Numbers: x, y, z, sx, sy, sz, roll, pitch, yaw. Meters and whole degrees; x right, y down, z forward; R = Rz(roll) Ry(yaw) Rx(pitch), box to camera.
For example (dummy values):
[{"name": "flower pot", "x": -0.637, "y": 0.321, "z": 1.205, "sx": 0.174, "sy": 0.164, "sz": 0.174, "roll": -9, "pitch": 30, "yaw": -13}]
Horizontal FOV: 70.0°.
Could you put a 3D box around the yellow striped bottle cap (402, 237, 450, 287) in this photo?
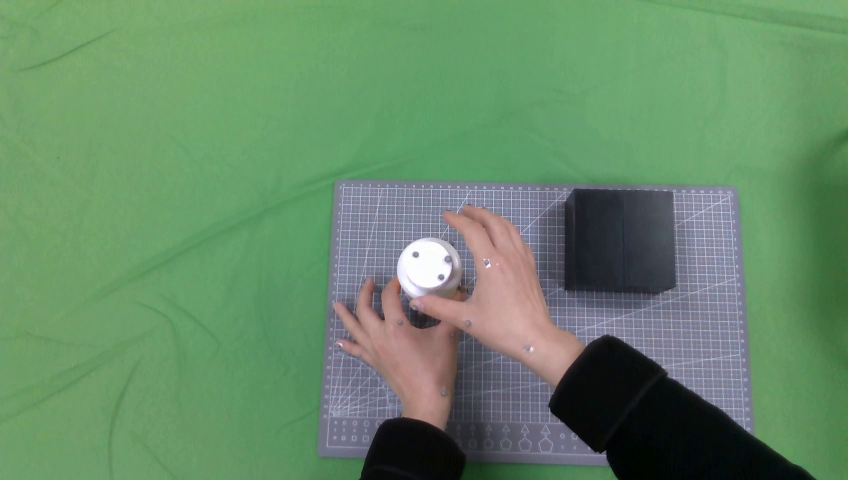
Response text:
[{"name": "yellow striped bottle cap", "x": 0.002, "y": 0.020, "z": 0.551, "sx": 0.044, "sy": 0.019, "sz": 0.044, "roll": 0, "pitch": 78, "yaw": 1}]

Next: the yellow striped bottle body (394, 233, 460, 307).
[{"name": "yellow striped bottle body", "x": 0.004, "y": 0.031, "z": 0.603, "sx": 0.063, "sy": 0.121, "sz": 0.062, "roll": 0, "pitch": 78, "yaw": 2}]
